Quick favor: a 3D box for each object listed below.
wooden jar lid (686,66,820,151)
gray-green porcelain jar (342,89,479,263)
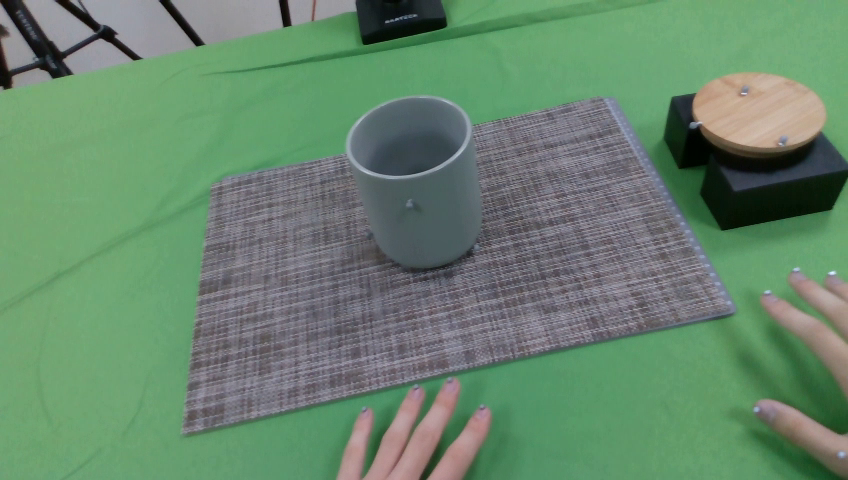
[{"bbox_3d":[0.293,-0.118,0.545,0.108,0.021,0.107,-5,51,7],"label":"wooden jar lid"},{"bbox_3d":[-0.007,-0.050,0.536,0.106,0.128,0.105,-5,49,7],"label":"gray-green porcelain jar"}]
